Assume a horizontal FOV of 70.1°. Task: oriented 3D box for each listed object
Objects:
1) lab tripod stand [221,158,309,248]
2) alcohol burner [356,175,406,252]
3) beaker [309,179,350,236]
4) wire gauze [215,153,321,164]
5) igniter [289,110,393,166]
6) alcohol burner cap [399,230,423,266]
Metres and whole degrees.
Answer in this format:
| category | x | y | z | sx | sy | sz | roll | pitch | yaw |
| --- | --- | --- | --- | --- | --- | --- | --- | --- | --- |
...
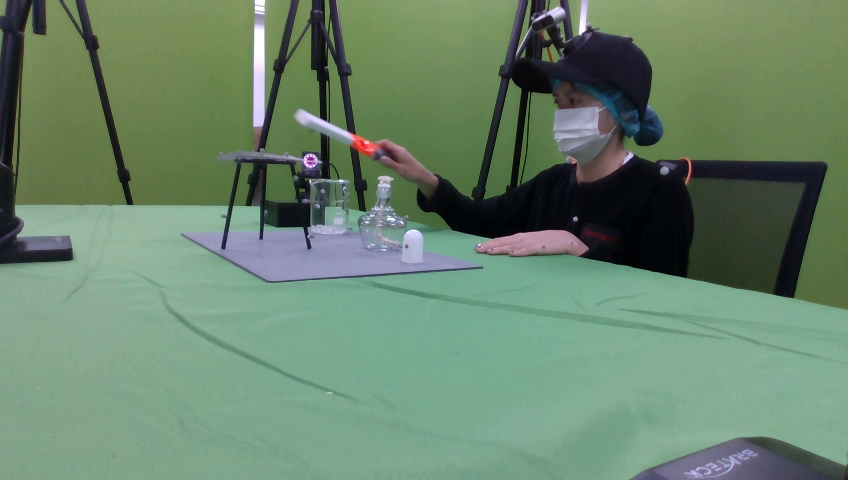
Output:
| category | x | y | z | sx | sy | sz | roll | pitch | yaw |
| --- | --- | --- | --- | --- | --- | --- | --- | --- | --- |
| lab tripod stand | -0.244 | -0.057 | 0.917 | 0.148 | 0.131 | 0.148 | 1 | 7 | 0 |
| alcohol burner | -0.066 | -0.041 | 0.940 | 0.078 | 0.119 | 0.078 | 4 | 6 | 0 |
| beaker | -0.176 | -0.060 | 1.105 | 0.073 | 0.100 | 0.084 | 8 | 10 | 39 |
| wire gauze | -0.235 | -0.123 | 0.906 | 0.126 | 0.011 | 0.121 | -2 | 7 | -33 |
| igniter | -0.149 | -0.191 | 1.166 | 0.057 | 0.025 | 0.278 | 47 | 16 | 31 |
| alcohol burner cap | -0.017 | 0.010 | 0.837 | 0.034 | 0.048 | 0.034 | 3 | 7 | 0 |
